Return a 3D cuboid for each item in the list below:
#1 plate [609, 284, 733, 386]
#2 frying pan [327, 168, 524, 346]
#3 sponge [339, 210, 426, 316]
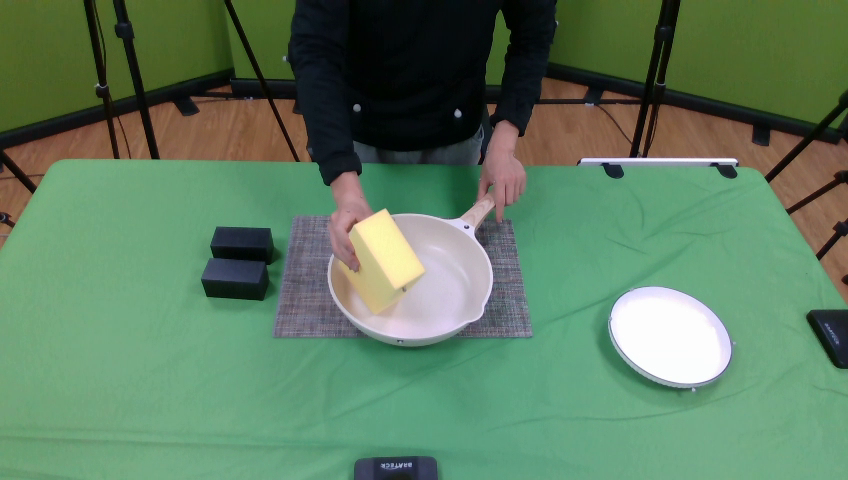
[{"bbox_3d":[0.425,0.167,1.059,0.208,0.039,0.206,2,46,-2],"label":"plate"},{"bbox_3d":[0.042,0.009,1.132,0.305,0.103,0.487,34,61,24],"label":"frying pan"},{"bbox_3d":[-0.076,0.045,0.999,0.061,0.207,0.118,-30,82,-21],"label":"sponge"}]
